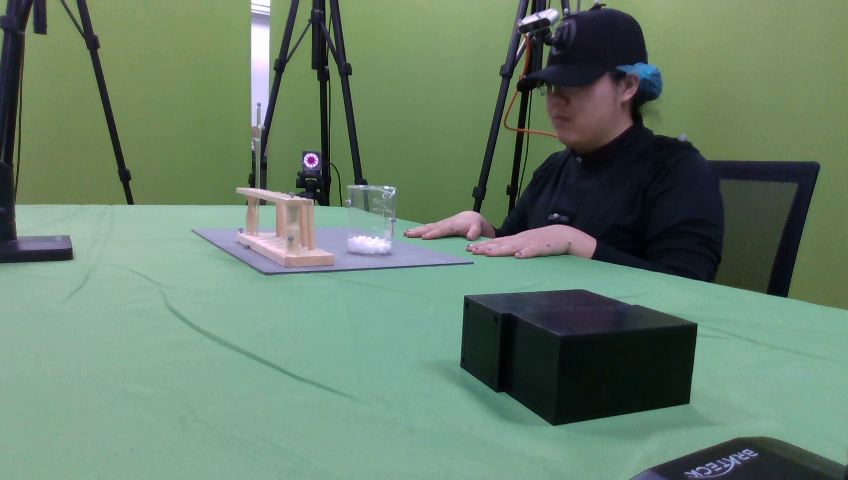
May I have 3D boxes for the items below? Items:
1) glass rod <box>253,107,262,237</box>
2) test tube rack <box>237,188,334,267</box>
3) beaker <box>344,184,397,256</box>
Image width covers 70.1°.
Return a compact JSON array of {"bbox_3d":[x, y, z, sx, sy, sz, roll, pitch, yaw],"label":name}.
[{"bbox_3d":[-0.251,-0.100,0.912,0.008,0.199,0.008,3,3,0],"label":"glass rod"},{"bbox_3d":[-0.202,-0.024,0.855,0.067,0.085,0.241,-2,8,-30],"label":"test tube rack"},{"bbox_3d":[-0.077,-0.029,0.886,0.083,0.100,0.074,9,10,39],"label":"beaker"}]
